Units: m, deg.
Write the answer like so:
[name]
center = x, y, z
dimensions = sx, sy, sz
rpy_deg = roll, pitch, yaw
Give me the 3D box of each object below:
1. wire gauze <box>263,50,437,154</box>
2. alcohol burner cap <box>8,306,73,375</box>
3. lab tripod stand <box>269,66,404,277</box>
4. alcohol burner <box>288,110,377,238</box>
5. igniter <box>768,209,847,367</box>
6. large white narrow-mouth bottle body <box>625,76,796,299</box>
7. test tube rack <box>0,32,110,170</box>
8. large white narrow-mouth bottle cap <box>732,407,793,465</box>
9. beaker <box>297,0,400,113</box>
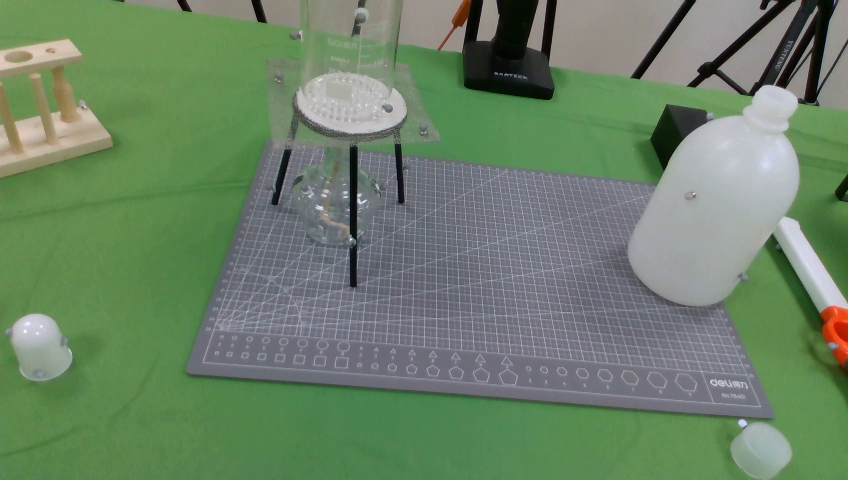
[wire gauze]
center = -0.061, -0.113, 0.471
dimensions = 0.122, 0.011, 0.123
rpy_deg = -5, 50, -14
[alcohol burner cap]
center = -0.261, 0.066, 0.409
dimensions = 0.034, 0.048, 0.033
rpy_deg = 7, 43, -7
[lab tripod stand]
center = -0.067, -0.064, 0.515
dimensions = 0.149, 0.132, 0.147
rpy_deg = 7, 44, -7
[alcohol burner]
center = -0.077, -0.060, 0.522
dimensions = 0.078, 0.120, 0.077
rpy_deg = 8, 42, -7
[igniter]
center = 0.377, 0.067, 0.554
dimensions = 0.057, 0.025, 0.274
rpy_deg = 15, 42, -12
[large white narrow-mouth bottle body]
center = 0.251, -0.046, 0.518
dimensions = 0.102, 0.196, 0.101
rpy_deg = 5, 43, -5
[test tube rack]
center = -0.416, -0.103, 0.520
dimensions = 0.243, 0.086, 0.066
rpy_deg = -26, 55, -33
[large white narrow-mouth bottle cap]
center = 0.251, 0.146, 0.450
dimensions = 0.038, 0.024, 0.037
rpy_deg = 6, 43, -5
[beaker]
center = -0.059, -0.151, 0.439
dimensions = 0.084, 0.101, 0.073
rpy_deg = 1, 46, -11
